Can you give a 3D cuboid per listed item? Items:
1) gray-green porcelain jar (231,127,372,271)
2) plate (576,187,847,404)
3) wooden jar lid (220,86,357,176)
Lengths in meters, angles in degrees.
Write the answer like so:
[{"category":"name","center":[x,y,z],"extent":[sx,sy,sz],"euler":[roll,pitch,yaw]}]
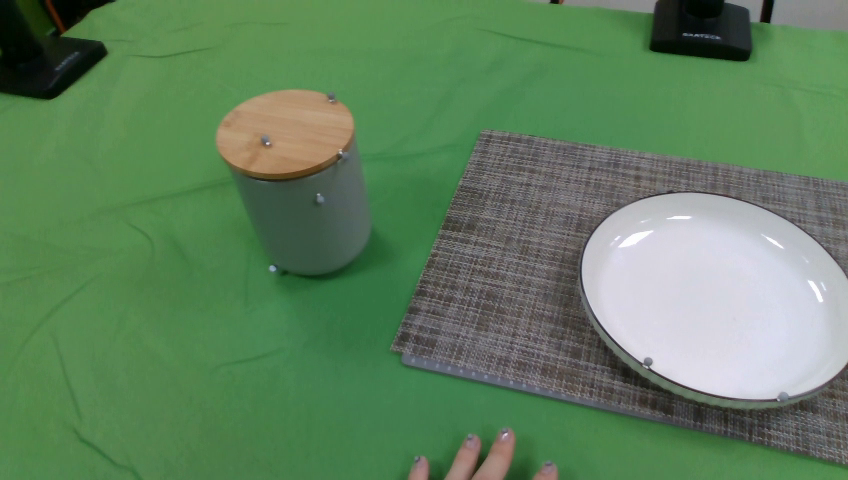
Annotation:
[{"category":"gray-green porcelain jar","center":[-0.102,-0.043,0.535],"extent":[0.106,0.128,0.105],"euler":[-2,49,2]},{"category":"plate","center":[0.228,0.041,0.491],"extent":[0.207,0.039,0.205],"euler":[-2,49,3]},{"category":"wooden jar lid","center":[-0.107,-0.085,0.487],"extent":[0.108,0.021,0.107],"euler":[1,48,0]}]
